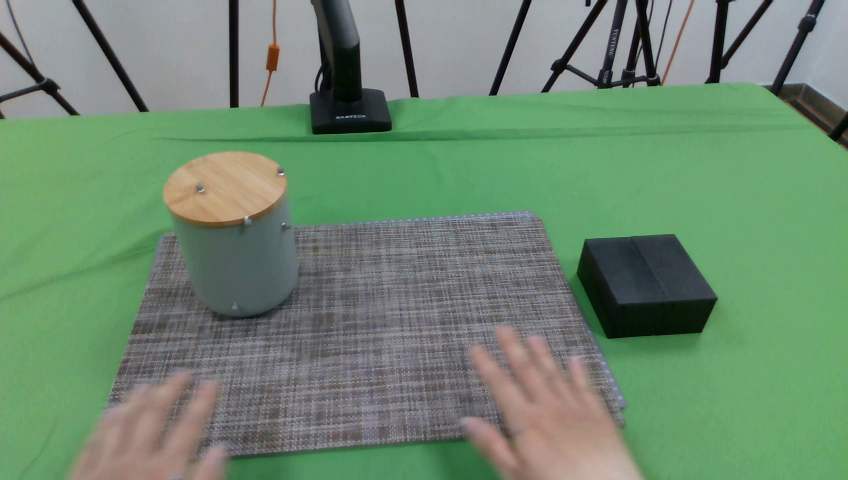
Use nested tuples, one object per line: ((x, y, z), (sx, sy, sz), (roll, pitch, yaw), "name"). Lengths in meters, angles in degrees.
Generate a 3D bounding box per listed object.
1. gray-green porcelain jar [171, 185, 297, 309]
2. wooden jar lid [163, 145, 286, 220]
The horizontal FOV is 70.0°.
((-0.183, -0.003, 0.600), (0.106, 0.127, 0.105), (1, 40, -1), "gray-green porcelain jar")
((-0.182, -0.051, 0.560), (0.108, 0.021, 0.107), (3, 43, -3), "wooden jar lid")
